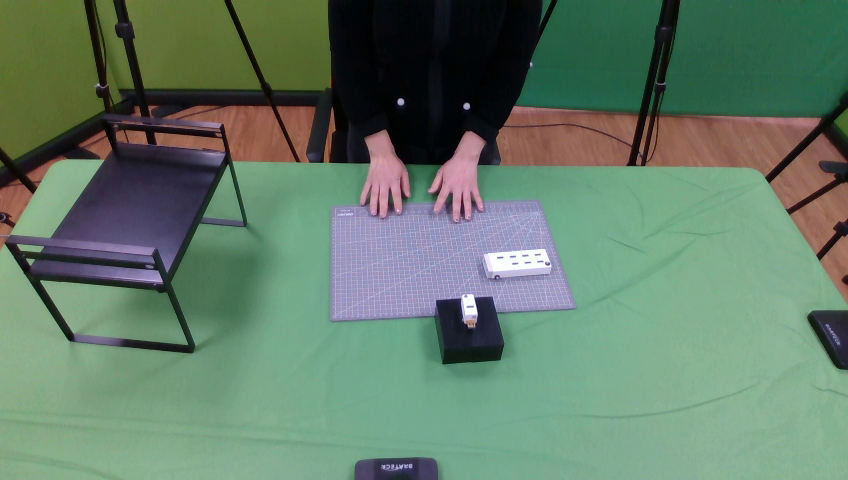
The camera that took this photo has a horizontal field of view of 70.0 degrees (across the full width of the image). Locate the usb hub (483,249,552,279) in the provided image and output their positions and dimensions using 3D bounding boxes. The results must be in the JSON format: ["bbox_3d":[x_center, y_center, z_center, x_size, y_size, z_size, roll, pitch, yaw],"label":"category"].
[{"bbox_3d":[0.178,0.046,1.159,0.125,0.025,0.049,-5,47,-7],"label":"usb hub"}]

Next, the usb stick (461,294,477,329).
[{"bbox_3d":[0.076,0.121,1.013,0.021,0.027,0.059,-1,49,-7],"label":"usb stick"}]
